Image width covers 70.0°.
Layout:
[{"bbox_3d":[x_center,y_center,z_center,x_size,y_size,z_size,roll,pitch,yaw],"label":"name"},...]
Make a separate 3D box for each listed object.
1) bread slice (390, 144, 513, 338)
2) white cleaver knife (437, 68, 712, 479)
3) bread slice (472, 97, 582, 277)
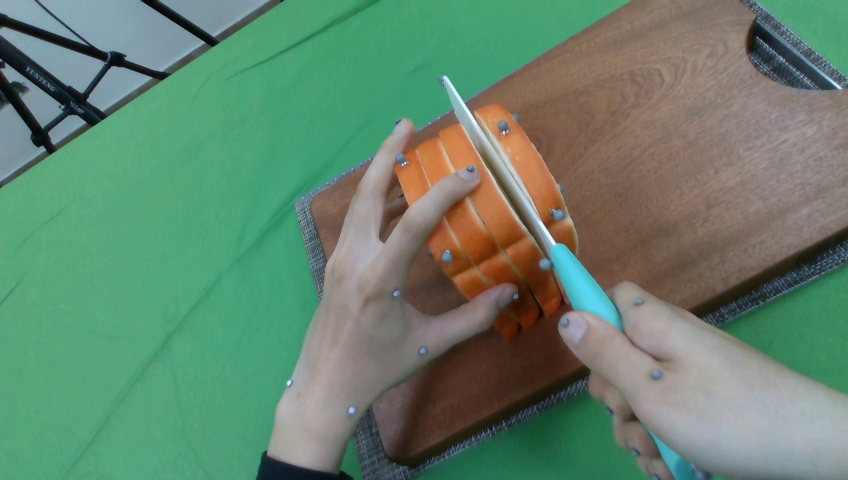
[{"bbox_3d":[0.018,-0.005,0.406,0.018,0.136,0.106,-29,52,8],"label":"bread slice"},{"bbox_3d":[0.076,0.002,0.356,0.021,0.066,0.283,-30,62,7],"label":"white cleaver knife"},{"bbox_3d":[0.070,-0.031,0.396,0.019,0.133,0.104,-30,57,4],"label":"bread slice"}]
